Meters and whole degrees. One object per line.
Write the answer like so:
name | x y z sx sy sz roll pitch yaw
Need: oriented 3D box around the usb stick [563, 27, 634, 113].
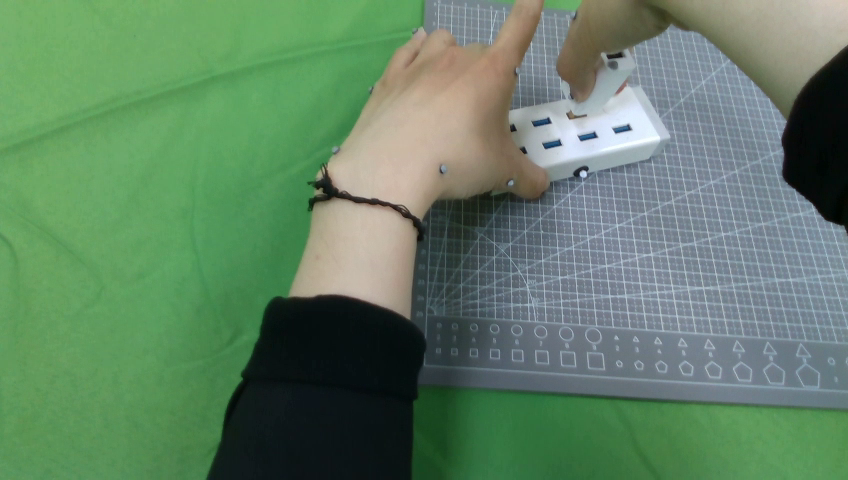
usb stick | 0.104 -0.101 0.375 0.021 0.059 0.027 -15 67 -16

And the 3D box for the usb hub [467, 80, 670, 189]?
usb hub | 0.095 -0.072 0.400 0.125 0.025 0.049 -14 66 -14
